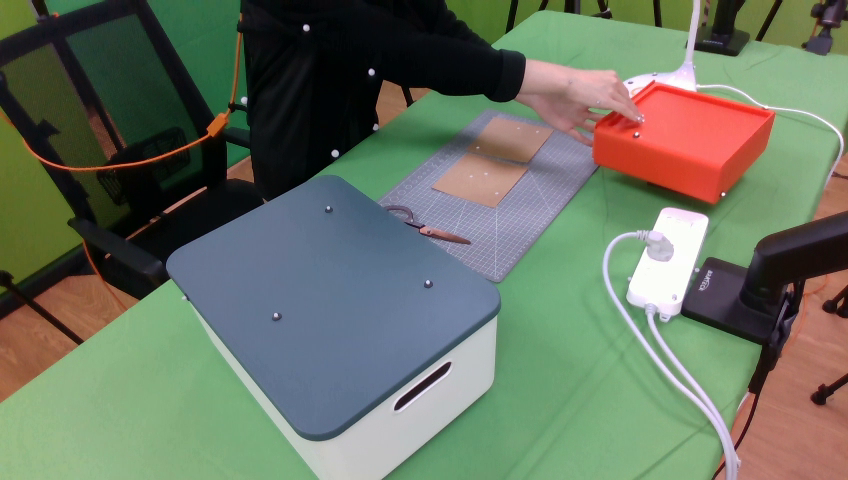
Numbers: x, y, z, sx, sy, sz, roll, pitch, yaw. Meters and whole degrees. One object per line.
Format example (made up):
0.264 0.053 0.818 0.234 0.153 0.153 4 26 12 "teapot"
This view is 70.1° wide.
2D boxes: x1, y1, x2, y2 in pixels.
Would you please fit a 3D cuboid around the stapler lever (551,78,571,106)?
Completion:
0.287 -0.320 1.270 0.027 0.040 0.117 -1 38 2 "stapler lever"

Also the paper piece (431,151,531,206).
0.104 -0.116 1.104 0.134 0.004 0.136 20 48 30 "paper piece"

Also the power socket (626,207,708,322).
0.360 0.026 0.886 0.072 0.033 0.227 16 46 26 "power socket"

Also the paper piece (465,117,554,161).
0.171 -0.201 1.195 0.137 0.009 0.136 17 43 27 "paper piece"

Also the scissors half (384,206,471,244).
0.001 -0.024 1.005 0.174 0.013 0.040 22 57 25 "scissors half"

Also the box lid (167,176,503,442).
-0.119 0.047 0.714 0.264 0.015 0.368 -32 47 -27 "box lid"

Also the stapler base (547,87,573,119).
0.289 -0.299 1.285 0.041 0.024 0.130 0 39 2 "stapler base"

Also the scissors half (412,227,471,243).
-0.007 -0.010 0.993 0.174 0.013 0.040 8 47 15 "scissors half"

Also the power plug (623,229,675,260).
0.327 0.007 0.878 0.072 0.053 0.035 25 51 33 "power plug"

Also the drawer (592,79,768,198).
0.423 -0.174 1.008 0.210 0.073 0.195 30 52 34 "drawer"

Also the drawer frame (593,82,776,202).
0.428 -0.171 1.007 0.211 0.083 0.202 29 51 36 "drawer frame"

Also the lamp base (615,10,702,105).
0.484 -0.364 1.211 0.180 0.181 0.159 -15 41 -14 "lamp base"

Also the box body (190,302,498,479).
-0.110 0.103 0.761 0.255 0.161 0.361 -33 46 -27 "box body"
